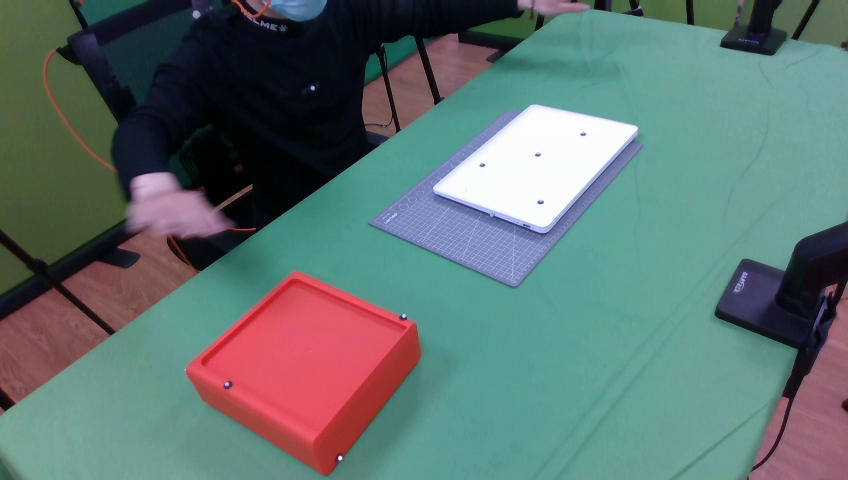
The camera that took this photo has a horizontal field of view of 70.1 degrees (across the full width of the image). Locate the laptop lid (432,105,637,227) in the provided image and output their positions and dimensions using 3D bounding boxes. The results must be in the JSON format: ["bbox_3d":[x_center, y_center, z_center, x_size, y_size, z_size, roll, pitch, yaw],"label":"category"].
[{"bbox_3d":[0.207,-0.152,1.105,0.239,0.013,0.358,23,49,34],"label":"laptop lid"}]

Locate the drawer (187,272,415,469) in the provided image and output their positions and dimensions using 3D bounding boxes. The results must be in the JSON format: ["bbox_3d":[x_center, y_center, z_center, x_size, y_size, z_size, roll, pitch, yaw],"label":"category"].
[{"bbox_3d":[-0.150,0.154,0.768,0.210,0.073,0.195,20,46,27],"label":"drawer"}]

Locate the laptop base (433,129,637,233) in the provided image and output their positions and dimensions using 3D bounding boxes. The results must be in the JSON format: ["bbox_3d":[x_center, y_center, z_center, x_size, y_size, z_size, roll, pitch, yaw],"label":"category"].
[{"bbox_3d":[0.210,-0.142,1.111,0.233,0.023,0.355,21,47,34],"label":"laptop base"}]

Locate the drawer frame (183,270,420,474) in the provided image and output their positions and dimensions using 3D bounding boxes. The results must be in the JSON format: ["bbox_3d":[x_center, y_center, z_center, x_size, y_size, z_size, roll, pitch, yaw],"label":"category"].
[{"bbox_3d":[-0.148,0.153,0.767,0.212,0.083,0.202,19,46,27],"label":"drawer frame"}]

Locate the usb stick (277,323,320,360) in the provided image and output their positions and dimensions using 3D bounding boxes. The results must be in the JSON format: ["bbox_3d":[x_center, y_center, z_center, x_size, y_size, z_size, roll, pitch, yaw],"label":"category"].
[{"bbox_3d":[-0.172,0.139,0.816,0.059,0.027,0.021,-29,41,-22],"label":"usb stick"}]
